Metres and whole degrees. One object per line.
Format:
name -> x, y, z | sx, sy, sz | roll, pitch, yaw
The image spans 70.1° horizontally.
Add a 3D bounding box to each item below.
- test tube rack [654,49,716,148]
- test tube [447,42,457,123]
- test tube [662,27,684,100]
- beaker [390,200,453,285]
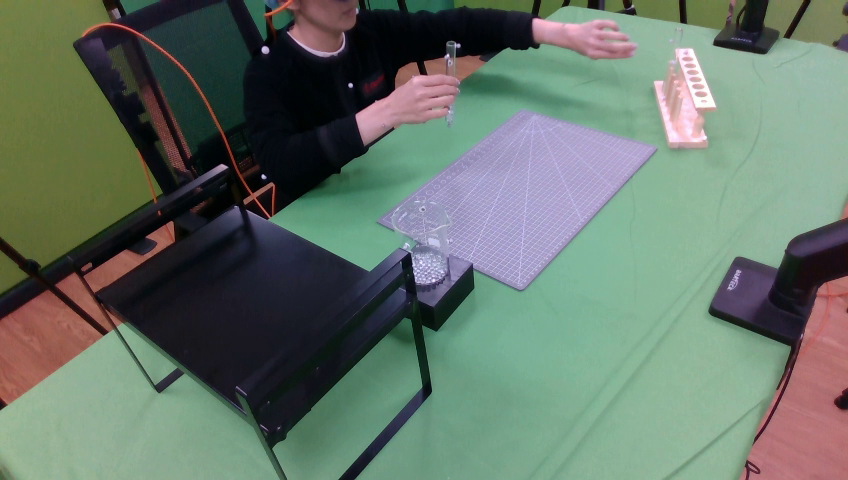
test tube rack -> 0.502, -0.281, 1.176 | 0.066, 0.085, 0.241 | 2, 41, 11
test tube -> 0.048, -0.267, 1.041 | 0.017, 0.151, 0.017 | -1, 44, 1
test tube -> 0.486, -0.342, 1.181 | 0.017, 0.151, 0.017 | -3, 42, 3
beaker -> 0.002, 0.006, 0.831 | 0.084, 0.101, 0.074 | 5, 42, 13
